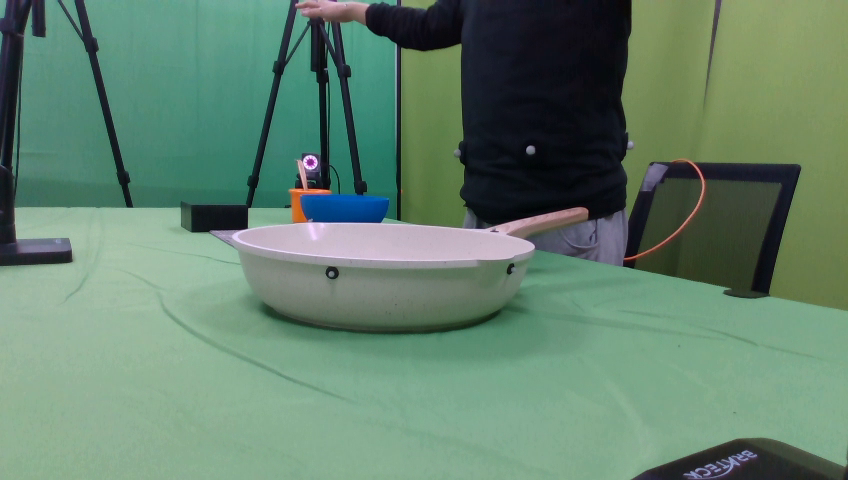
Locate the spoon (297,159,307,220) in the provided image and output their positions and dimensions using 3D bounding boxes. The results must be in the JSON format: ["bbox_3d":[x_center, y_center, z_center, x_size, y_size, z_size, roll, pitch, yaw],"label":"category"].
[{"bbox_3d":[-0.264,-0.114,1.338,0.042,0.193,0.021,-1,-37,-20],"label":"spoon"}]

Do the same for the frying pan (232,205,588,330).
[{"bbox_3d":[0.039,0.005,0.670,0.490,0.102,0.305,-15,17,-40],"label":"frying pan"}]

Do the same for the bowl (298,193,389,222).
[{"bbox_3d":[-0.136,-0.037,1.018,0.151,0.077,0.151,2,7,0],"label":"bowl"}]
